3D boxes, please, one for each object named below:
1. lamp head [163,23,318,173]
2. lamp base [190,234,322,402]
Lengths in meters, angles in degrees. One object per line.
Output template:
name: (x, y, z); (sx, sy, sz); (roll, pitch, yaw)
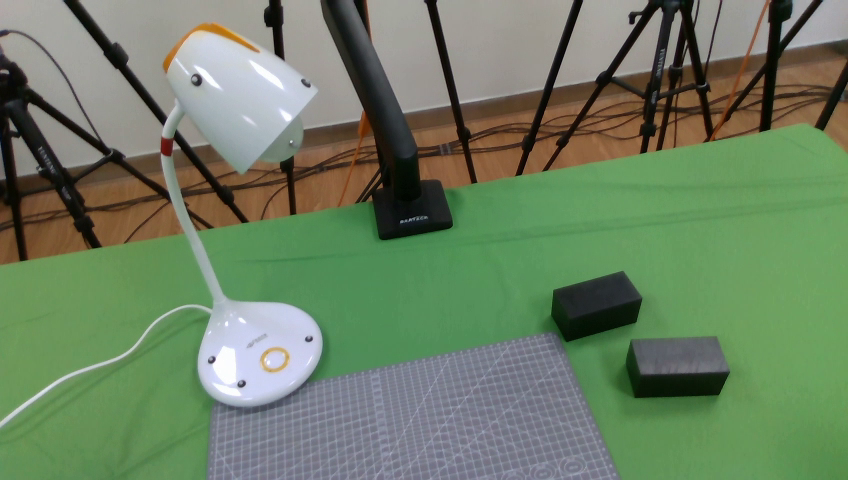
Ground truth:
lamp head: (-0.182, -0.139, 0.571); (0.123, 0.112, 0.111); (37, 47, -15)
lamp base: (-0.231, 0.083, 0.753); (0.178, 0.182, 0.160); (22, 50, 30)
